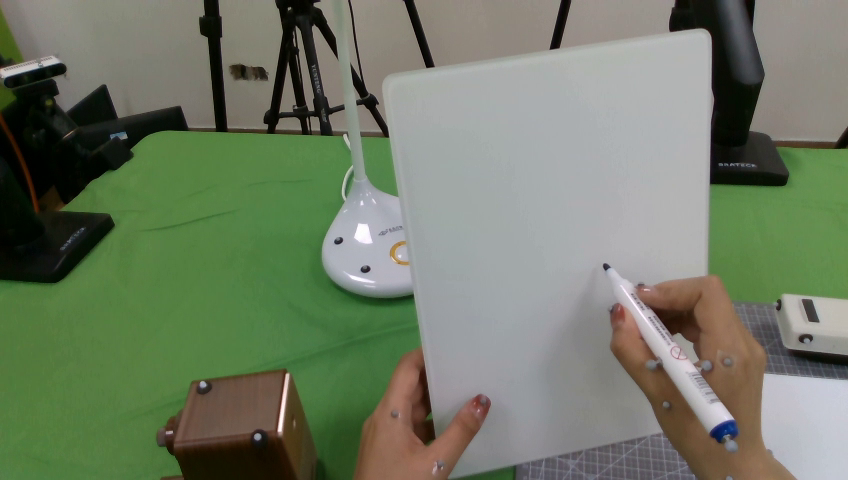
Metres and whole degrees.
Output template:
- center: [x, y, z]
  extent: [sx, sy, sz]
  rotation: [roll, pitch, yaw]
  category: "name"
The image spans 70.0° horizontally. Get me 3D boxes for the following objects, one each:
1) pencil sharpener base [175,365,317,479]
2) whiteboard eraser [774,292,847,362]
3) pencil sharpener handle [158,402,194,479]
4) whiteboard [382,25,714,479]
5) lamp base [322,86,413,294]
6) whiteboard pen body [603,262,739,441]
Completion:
- center: [-0.126, 0.149, 0.439]
  extent: [0.077, 0.108, 0.060]
  rotation: [-6, 38, -1]
  category: "pencil sharpener base"
- center: [0.370, 0.078, 0.525]
  extent: [0.112, 0.042, 0.055]
  rotation: [6, 40, 14]
  category: "whiteboard eraser"
- center: [-0.177, 0.147, 0.427]
  extent: [0.030, 0.068, 0.035]
  rotation: [-6, 25, -1]
  category: "pencil sharpener handle"
- center: [0.092, 0.004, 0.488]
  extent: [0.217, 0.307, 0.143]
  rotation: [-10, 19, -5]
  category: "whiteboard"
- center: [-0.049, -0.062, 0.643]
  extent: [0.161, 0.182, 0.177]
  rotation: [-27, 41, -26]
  category: "lamp base"
- center: [0.144, 0.060, 0.371]
  extent: [0.017, 0.017, 0.139]
  rotation: [-12, 43, -9]
  category: "whiteboard pen body"
